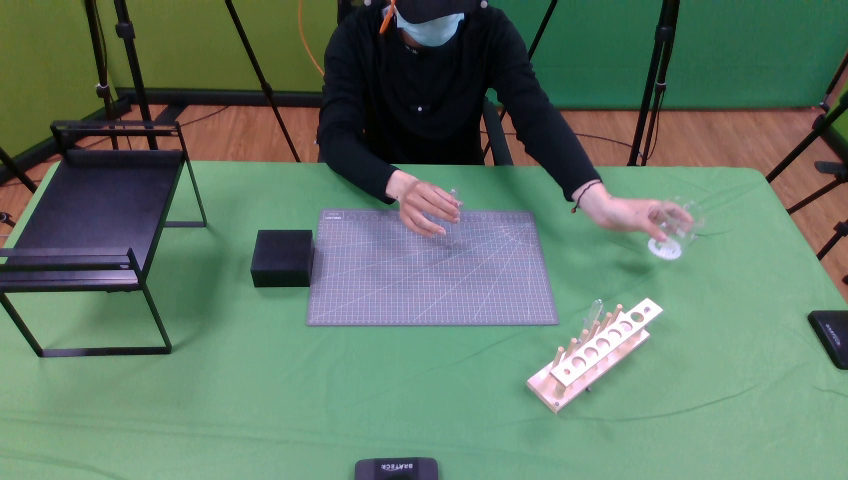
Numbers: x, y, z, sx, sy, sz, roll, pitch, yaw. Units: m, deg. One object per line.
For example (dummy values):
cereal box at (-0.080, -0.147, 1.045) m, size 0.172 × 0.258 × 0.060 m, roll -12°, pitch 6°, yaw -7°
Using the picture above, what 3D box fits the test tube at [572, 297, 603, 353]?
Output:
test tube at (0.263, 0.141, 0.977) m, size 0.017 × 0.151 × 0.017 m, roll 2°, pitch 47°, yaw -2°

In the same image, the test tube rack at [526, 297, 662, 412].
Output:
test tube rack at (0.284, 0.176, 1.007) m, size 0.242 × 0.085 × 0.066 m, roll -29°, pitch 54°, yaw -27°

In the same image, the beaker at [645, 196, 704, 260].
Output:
beaker at (0.453, -0.017, 1.102) m, size 0.083 × 0.101 × 0.074 m, roll 36°, pitch 53°, yaw 27°

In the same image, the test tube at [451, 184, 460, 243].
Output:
test tube at (0.059, -0.046, 1.122) m, size 0.017 × 0.151 × 0.017 m, roll -2°, pitch 49°, yaw 2°
